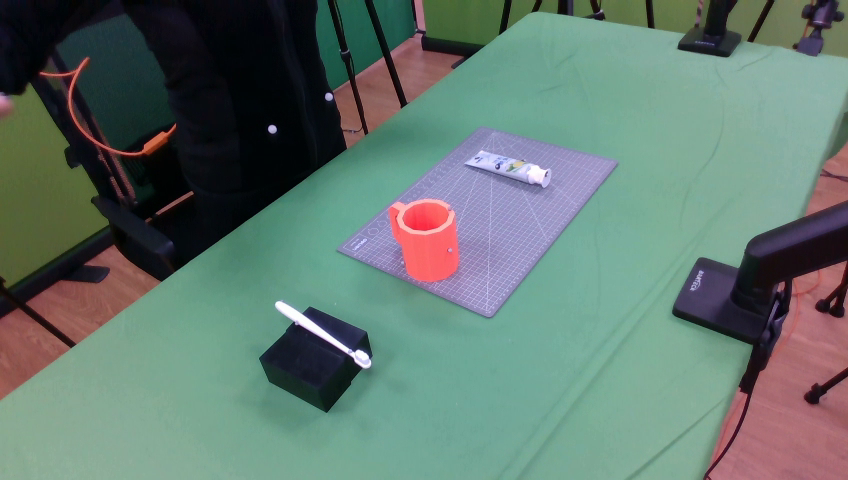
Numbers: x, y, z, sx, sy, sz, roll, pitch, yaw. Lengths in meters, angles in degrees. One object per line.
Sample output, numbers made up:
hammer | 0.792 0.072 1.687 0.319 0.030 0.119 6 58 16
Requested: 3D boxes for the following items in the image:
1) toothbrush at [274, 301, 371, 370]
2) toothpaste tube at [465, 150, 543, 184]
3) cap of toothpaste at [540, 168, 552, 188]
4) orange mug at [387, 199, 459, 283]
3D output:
toothbrush | -0.135 0.119 0.783 0.180 0.017 0.014 25 53 32
toothpaste tube | 0.154 -0.135 1.108 0.163 0.034 0.055 23 43 36
cap of toothpaste | 0.213 -0.109 1.059 0.011 0.037 0.037 19 47 27
orange mug | -0.006 -0.007 0.923 0.125 0.101 0.084 32 54 32
